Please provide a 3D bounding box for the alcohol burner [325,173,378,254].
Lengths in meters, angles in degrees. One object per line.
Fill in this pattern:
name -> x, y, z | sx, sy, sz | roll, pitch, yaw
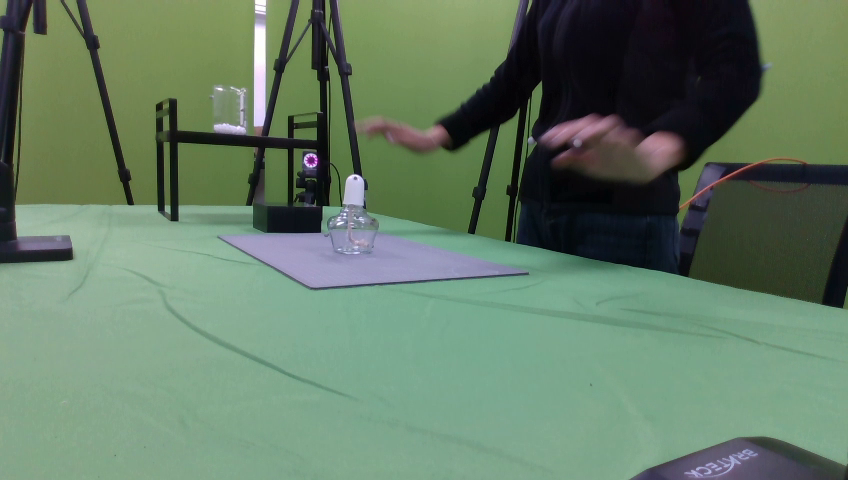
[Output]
alcohol burner -> -0.107, -0.040, 0.896 | 0.078, 0.119, 0.078 | 1, 5, 0

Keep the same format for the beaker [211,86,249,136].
beaker -> -0.413, -0.274, 1.297 | 0.074, 0.100, 0.083 | -5, 11, -44

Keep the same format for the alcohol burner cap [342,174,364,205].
alcohol burner cap -> -0.104, -0.074, 0.892 | 0.034, 0.048, 0.034 | 4, 3, 0
